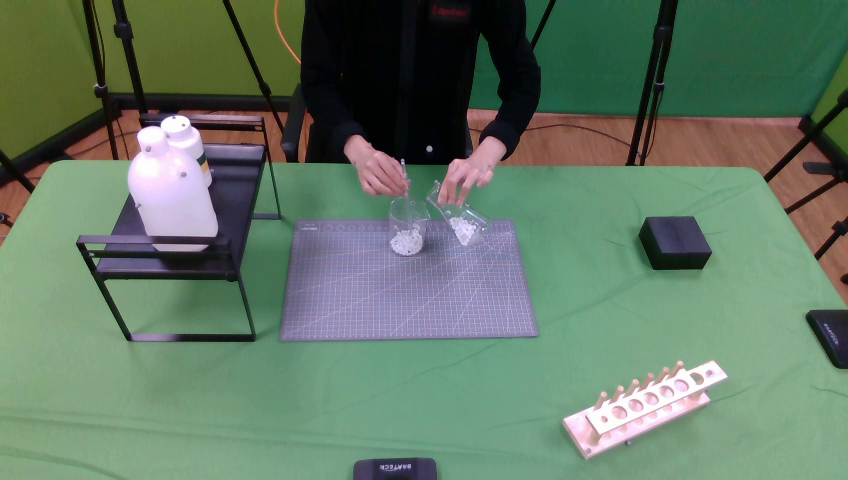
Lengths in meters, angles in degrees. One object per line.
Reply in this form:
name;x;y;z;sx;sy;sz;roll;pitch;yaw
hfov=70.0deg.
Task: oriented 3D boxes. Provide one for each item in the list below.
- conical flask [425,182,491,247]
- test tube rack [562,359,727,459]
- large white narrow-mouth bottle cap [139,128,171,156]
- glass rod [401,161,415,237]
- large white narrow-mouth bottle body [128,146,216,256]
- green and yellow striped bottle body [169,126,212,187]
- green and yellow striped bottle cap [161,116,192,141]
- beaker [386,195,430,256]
conical flask;0.056;-0.050;1.093;0.122;0.075;0.075;42;47;-15
test tube rack;0.341;0.247;0.940;0.243;0.085;0.066;-16;49;-18
large white narrow-mouth bottle cap;-0.358;-0.131;0.808;0.038;0.024;0.037;3;47;-3
glass rod;-0.029;-0.072;1.132;0.008;0.201;0.008;-3;49;4
large white narrow-mouth bottle body;-0.366;-0.073;0.872;0.102;0.195;0.101;3;47;-3
green and yellow striped bottle body;-0.389;-0.139;0.984;0.063;0.120;0.063;2;46;-2
green and yellow striped bottle cap;-0.387;-0.174;0.946;0.045;0.020;0.045;3;44;-3
beaker;-0.031;-0.024;1.161;0.084;0.101;0.073;18;48;12
